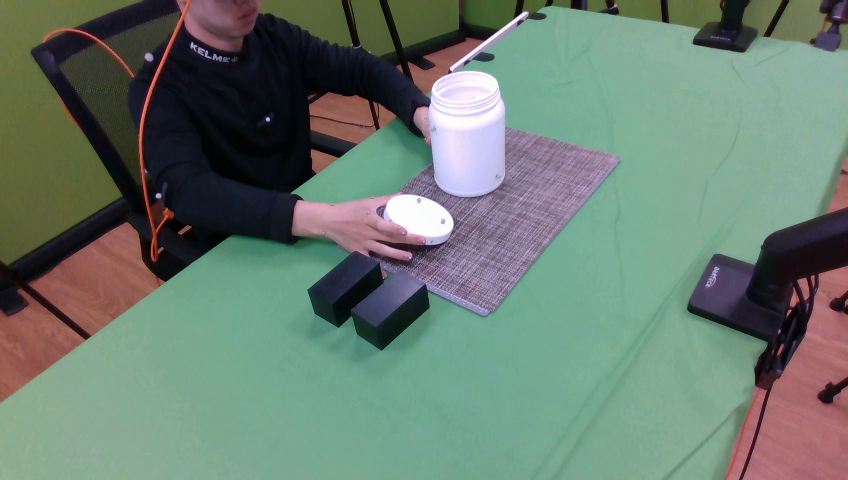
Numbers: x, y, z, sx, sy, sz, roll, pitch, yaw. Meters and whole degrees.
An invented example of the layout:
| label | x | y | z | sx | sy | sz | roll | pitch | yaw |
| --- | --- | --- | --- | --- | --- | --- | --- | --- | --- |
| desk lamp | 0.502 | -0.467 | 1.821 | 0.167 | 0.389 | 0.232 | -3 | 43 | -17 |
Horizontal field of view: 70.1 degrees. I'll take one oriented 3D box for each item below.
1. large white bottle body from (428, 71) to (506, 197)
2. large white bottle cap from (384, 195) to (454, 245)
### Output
| label | x | y | z | sx | sy | sz | roll | pitch | yaw |
| --- | --- | --- | --- | --- | --- | --- | --- | --- | --- |
| large white bottle body | 0.075 | -0.181 | 1.038 | 0.130 | 0.185 | 0.130 | -4 | 41 | 4 |
| large white bottle cap | -0.008 | -0.034 | 0.974 | 0.115 | 0.018 | 0.114 | 14 | 35 | -10 |
